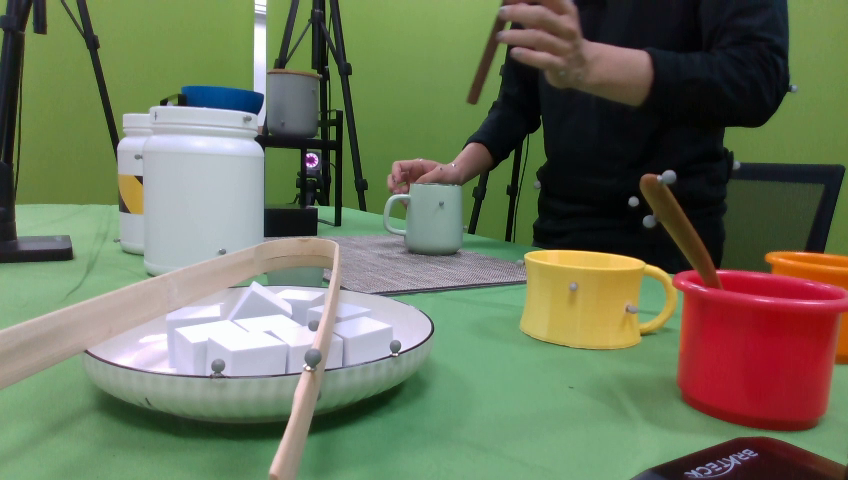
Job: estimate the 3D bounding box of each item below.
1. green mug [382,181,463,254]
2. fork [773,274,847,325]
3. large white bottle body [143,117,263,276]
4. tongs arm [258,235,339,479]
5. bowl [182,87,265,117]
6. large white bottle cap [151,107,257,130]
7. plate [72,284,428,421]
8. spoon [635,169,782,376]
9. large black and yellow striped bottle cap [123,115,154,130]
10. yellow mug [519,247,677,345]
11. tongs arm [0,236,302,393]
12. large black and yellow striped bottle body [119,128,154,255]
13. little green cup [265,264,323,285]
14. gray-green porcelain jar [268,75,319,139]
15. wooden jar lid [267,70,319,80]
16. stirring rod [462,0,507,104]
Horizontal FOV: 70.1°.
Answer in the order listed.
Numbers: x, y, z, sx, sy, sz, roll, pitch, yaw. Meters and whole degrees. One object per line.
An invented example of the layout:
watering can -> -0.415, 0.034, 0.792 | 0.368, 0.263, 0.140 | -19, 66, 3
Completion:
green mug -> -0.001, -0.036, 0.922 | 0.126, 0.105, 0.092 | 0, 8, -16
fork -> 0.332, 0.018, 0.443 | 0.028, 0.018, 0.207 | -2, -35, -15
large white bottle body -> -0.254, -0.054, 0.702 | 0.131, 0.184, 0.130 | 2, 8, 0
tongs arm -> -0.074, 0.040, 0.345 | 0.051, 0.026, 0.384 | -2, 10, -3
bowl -> -0.383, -0.243, 1.158 | 0.151, 0.077, 0.151 | 2, 7, 0
large white bottle cap -> -0.250, -0.138, 0.692 | 0.115, 0.018, 0.115 | 3, 7, 0
plate -> -0.102, 0.067, 0.381 | 0.208, 0.039, 0.207 | 3, 7, 0
spoon -> 0.161, 0.026, 0.346 | 0.041, 0.194, 0.021 | 10, 56, 53
large black and yellow striped bottle cap -> -0.353, -0.159, 0.838 | 0.115, 0.019, 0.115 | 2, 6, 0
yellow mug -> 0.148, 0.045, 0.513 | 0.131, 0.064, 0.100 | 3, 7, 0
tongs arm -> -0.157, 0.038, 0.347 | 0.028, 0.028, 0.388 | -3, 8, 11
large black and yellow striped bottle body -> -0.355, -0.076, 0.850 | 0.131, 0.184, 0.130 | 2, 8, 0
little green cup -> -0.134, 0.033, 0.628 | 0.061, 0.038, 0.061 | 3, 7, 0
gray-green porcelain jar -> -0.277, -0.279, 1.280 | 0.106, 0.126, 0.106 | 2, 8, 0
wooden jar lid -> -0.275, -0.340, 1.271 | 0.108, 0.020, 0.108 | 5, 6, 0
stirring rod -> 0.076, -0.238, 0.678 | 0.014, 0.176, 0.006 | 20, 21, 5
